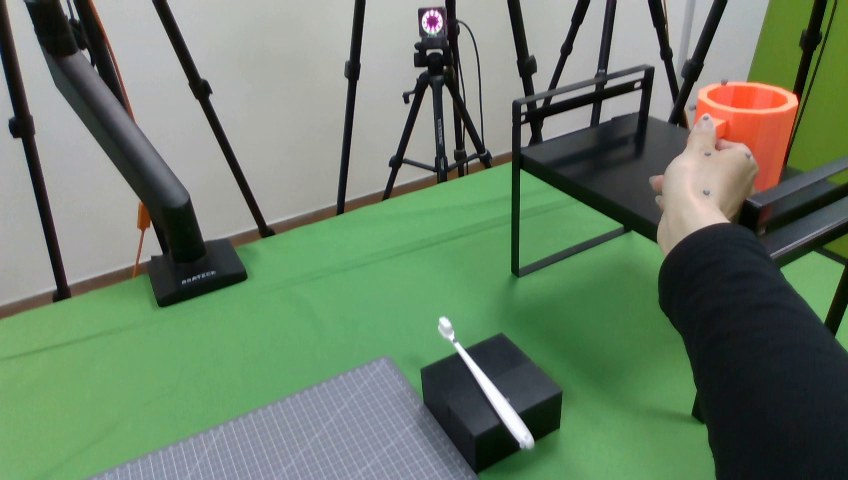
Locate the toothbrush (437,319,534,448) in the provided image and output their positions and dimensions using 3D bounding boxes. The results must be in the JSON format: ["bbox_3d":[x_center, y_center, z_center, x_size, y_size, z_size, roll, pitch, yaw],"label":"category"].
[{"bbox_3d":[0.054,0.131,0.582,0.014,0.017,0.180,-13,33,-20],"label":"toothbrush"}]

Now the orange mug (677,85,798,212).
[{"bbox_3d":[0.286,-0.084,0.574,0.126,0.101,0.082,-22,35,-33],"label":"orange mug"}]
